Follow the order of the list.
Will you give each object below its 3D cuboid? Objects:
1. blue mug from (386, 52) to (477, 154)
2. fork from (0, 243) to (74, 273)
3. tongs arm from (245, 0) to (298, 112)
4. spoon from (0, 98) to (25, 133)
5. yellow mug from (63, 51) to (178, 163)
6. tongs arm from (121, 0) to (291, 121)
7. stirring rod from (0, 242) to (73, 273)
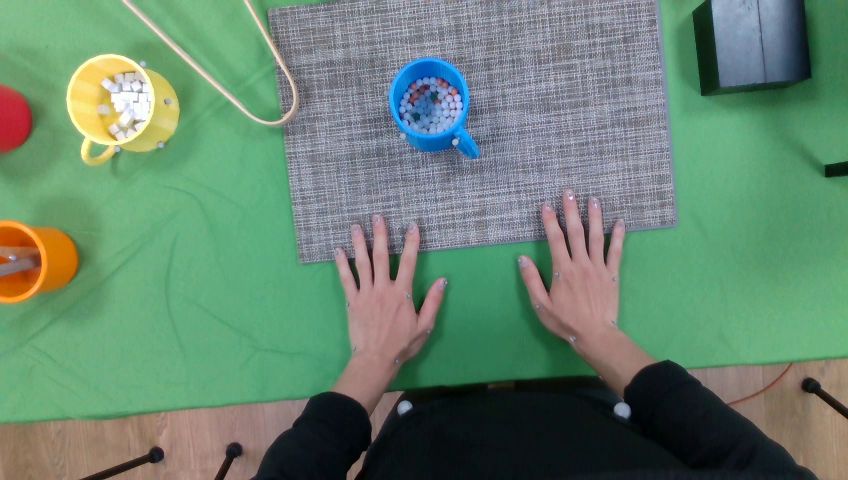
[{"bbox_3d":[0.016,-0.138,0.664,0.082,0.106,0.116,-45,91,3],"label":"blue mug"},{"bbox_3d":[-0.498,0.001,0.664,0.209,0.018,0.028,23,88,-43],"label":"fork"},{"bbox_3d":[-0.242,-0.323,0.681,0.028,0.027,0.388,-31,99,-6],"label":"tongs arm"},{"bbox_3d":[-0.553,-0.146,0.661,0.195,0.021,0.041,-1,97,-42],"label":"spoon"},{"bbox_3d":[-0.354,-0.144,0.695,0.100,0.064,0.131,33,94,-1],"label":"yellow mug"},{"bbox_3d":[-0.308,-0.270,0.682,0.051,0.026,0.386,-45,98,0],"label":"tongs arm"},{"bbox_3d":[-0.486,0.034,0.671,0.176,0.006,0.014,-23,88,-39],"label":"stirring rod"}]
